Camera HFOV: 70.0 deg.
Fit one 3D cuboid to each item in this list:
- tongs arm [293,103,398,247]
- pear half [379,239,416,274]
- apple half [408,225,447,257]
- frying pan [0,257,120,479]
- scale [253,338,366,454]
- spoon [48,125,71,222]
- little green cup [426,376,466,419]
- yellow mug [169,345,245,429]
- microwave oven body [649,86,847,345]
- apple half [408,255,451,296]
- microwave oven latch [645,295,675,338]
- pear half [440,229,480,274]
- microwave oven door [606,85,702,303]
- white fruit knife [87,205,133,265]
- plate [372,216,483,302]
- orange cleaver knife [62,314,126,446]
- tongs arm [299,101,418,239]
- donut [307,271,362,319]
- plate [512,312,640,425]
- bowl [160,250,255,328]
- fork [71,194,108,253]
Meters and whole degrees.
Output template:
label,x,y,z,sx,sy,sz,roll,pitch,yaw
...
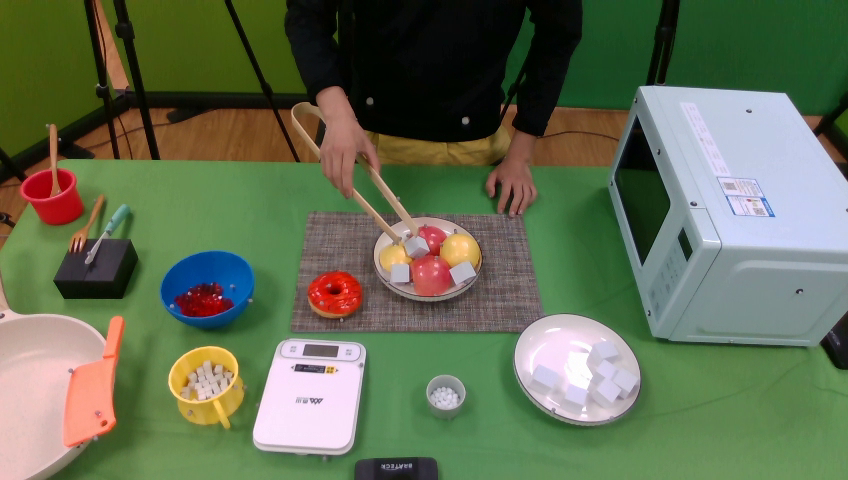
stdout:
label,x,y,z,sx,sy,sz,roll,pitch,yaw
tongs arm,-0.151,-0.125,1.097,0.028,0.028,0.385,-28,60,-20
pear half,-0.048,0.024,1.147,0.070,0.031,0.087,12,48,-10
apple half,0.011,-0.006,1.176,0.081,0.033,0.081,3,52,-3
frying pan,-0.647,0.164,0.937,0.307,0.103,0.485,-19,58,-22
scale,-0.175,0.236,0.951,0.149,0.032,0.199,4,45,0
spoon,-0.719,-0.131,1.189,0.041,0.021,0.193,-3,90,-6
little green cup,0.033,0.248,0.950,0.061,0.039,0.061,2,46,-2
yellow mug,-0.322,0.230,0.922,0.100,0.064,0.130,-24,53,-25
microwave oven body,0.567,-0.053,1.119,0.326,0.261,0.439,2,45,-1
apple half,0.012,0.058,1.103,0.075,0.053,0.080,-6,43,-13
microwave oven latch,0.411,0.134,1.061,0.030,0.029,0.078,3,45,0
pear half,0.065,0.007,1.150,0.076,0.056,0.109,-10,43,-2
microwave oven door,0.422,-0.094,1.140,0.039,0.245,0.353,2,46,-1
white fruit knife,-0.584,-0.013,1.129,0.016,0.027,0.206,-1,32,-4
plate,0.006,0.038,1.145,0.209,0.038,0.208,2,46,-2
orange cleaver knife,-0.480,0.199,0.887,0.077,0.012,0.210,-9,48,-7
tongs arm,-0.129,-0.136,1.108,0.051,0.026,0.382,-23,58,-22
donut,-0.158,0.097,1.073,0.099,0.048,0.098,4,45,-4
plate,0.246,0.213,0.999,0.208,0.039,0.206,2,46,-2
bowl,-0.362,0.098,1.040,0.151,0.077,0.150,2,45,-2
fork,-0.634,-0.036,1.158,0.028,0.019,0.206,-8,31,-8
